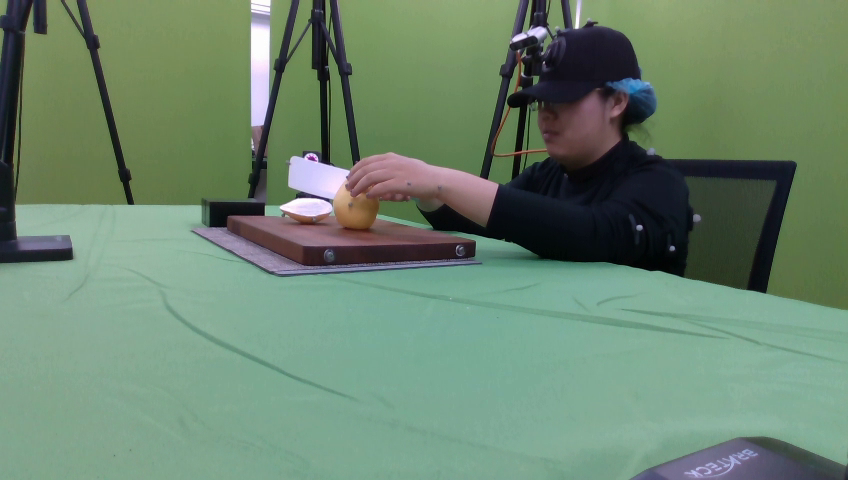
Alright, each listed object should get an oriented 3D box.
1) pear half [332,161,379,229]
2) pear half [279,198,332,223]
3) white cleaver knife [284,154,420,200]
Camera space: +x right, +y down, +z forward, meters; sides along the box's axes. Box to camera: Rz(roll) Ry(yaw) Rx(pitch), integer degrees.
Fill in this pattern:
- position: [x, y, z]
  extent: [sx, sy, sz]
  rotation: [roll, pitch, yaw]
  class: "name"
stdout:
- position: [-0.103, -0.071, 0.970]
  extent: [0.055, 0.110, 0.077]
  rotation: [10, 15, 44]
  class: "pear half"
- position: [-0.202, -0.046, 1.033]
  extent: [0.088, 0.031, 0.070]
  rotation: [-8, 24, -18]
  class: "pear half"
- position: [-0.117, -0.092, 1.045]
  extent: [0.288, 0.066, 0.021]
  rotation: [7, -12, -42]
  class: "white cleaver knife"
